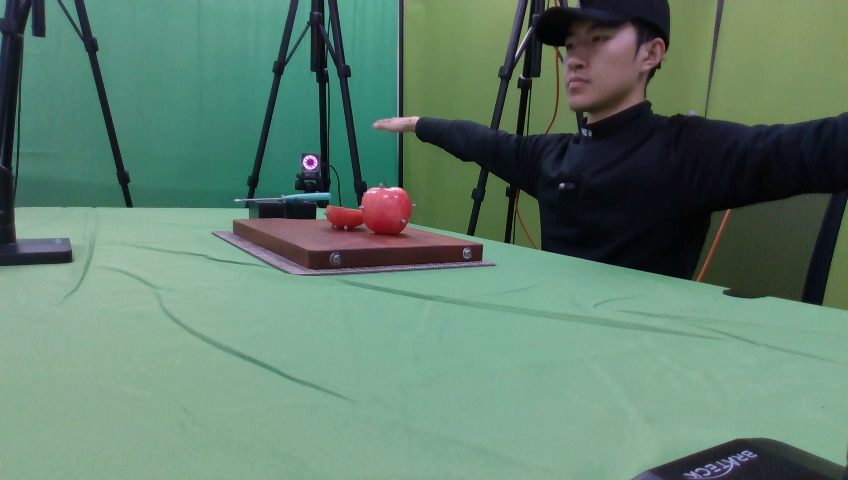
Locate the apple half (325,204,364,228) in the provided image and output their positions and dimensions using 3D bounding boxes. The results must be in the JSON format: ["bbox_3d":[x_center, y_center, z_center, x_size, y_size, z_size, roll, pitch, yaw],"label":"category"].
[{"bbox_3d":[-0.128,-0.035,0.990,0.081,0.033,0.081,10,-5,1],"label":"apple half"}]

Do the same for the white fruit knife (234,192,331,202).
[{"bbox_3d":[-0.295,-0.088,1.281,0.208,0.016,0.027,-6,-2,-26],"label":"white fruit knife"}]

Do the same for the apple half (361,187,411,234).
[{"bbox_3d":[-0.052,-0.045,0.937,0.081,0.074,0.053,2,10,-39],"label":"apple half"}]
